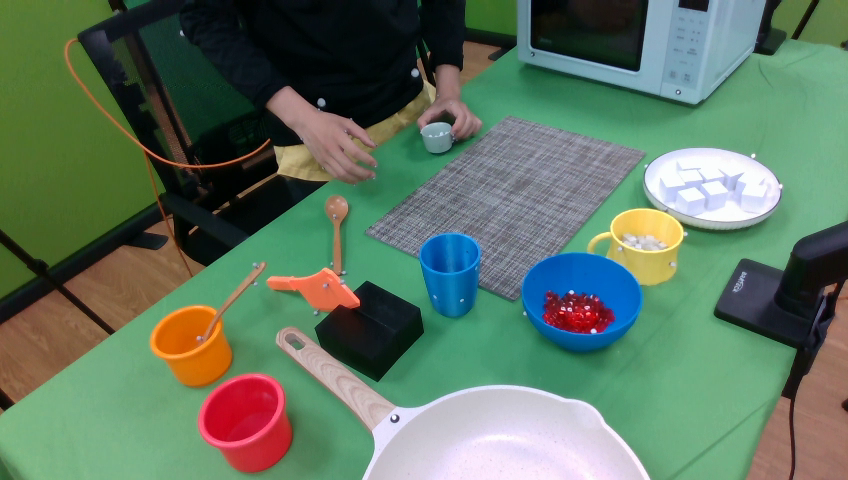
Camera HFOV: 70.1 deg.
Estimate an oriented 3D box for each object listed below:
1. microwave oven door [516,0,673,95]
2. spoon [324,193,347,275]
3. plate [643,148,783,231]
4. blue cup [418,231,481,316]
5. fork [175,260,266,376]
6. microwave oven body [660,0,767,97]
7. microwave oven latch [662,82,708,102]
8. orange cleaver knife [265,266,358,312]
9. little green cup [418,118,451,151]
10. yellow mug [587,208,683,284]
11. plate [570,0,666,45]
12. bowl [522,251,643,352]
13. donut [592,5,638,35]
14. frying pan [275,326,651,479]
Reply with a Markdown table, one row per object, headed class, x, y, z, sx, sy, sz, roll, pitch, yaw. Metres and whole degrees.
| class | x | y | z | sx | sy | sz | roll | pitch | yaw |
| --- | --- | --- | --- | --- | --- | --- | --- | --- | --- |
| microwave oven door | 0.344 | -0.458 | 1.256 | 0.353 | 0.245 | 0.039 | 26 | 51 | 33 |
| spoon | -0.148 | -0.014 | 1.008 | 0.042 | 0.022 | 0.192 | 0 | 40 | -8 |
| plate | 0.464 | -0.080 | 0.986 | 0.207 | 0.039 | 0.206 | -4 | 41 | 4 |
| blue cup | 0.040 | 0.053 | 0.843 | 0.092 | 0.100 | 0.092 | -4 | 43 | 4 |
| fork | -0.268 | 0.103 | 0.792 | 0.207 | 0.019 | 0.028 | -51 | 41 | 16 |
| microwave oven body | 0.473 | -0.516 | 1.313 | 0.438 | 0.261 | 0.327 | 26 | 51 | 34 |
| microwave oven latch | 0.517 | -0.298 | 1.202 | 0.078 | 0.029 | 0.030 | 28 | 52 | 35 |
| orange cleaver knife | -0.164 | 0.073 | 0.864 | 0.210 | 0.077 | 0.012 | -6 | 31 | 50 |
| little green cup | 0.022 | -0.205 | 1.177 | 0.061 | 0.039 | 0.061 | -9 | 43 | 9 |
| yellow mug | 0.305 | 0.009 | 0.884 | 0.131 | 0.064 | 0.099 | -4 | 41 | 5 |
| plate | 0.436 | -0.489 | 1.368 | 0.209 | 0.038 | 0.208 | -5 | 40 | 5 |
| bowl | 0.204 | 0.093 | 0.792 | 0.151 | 0.077 | 0.150 | -4 | 40 | 4 |
| donut | 0.428 | -0.492 | 1.352 | 0.099 | 0.048 | 0.098 | -6 | 42 | 6 |
| frying pan | 0.004 | 0.229 | 0.641 | 0.484 | 0.103 | 0.308 | 34 | 54 | 28 |
